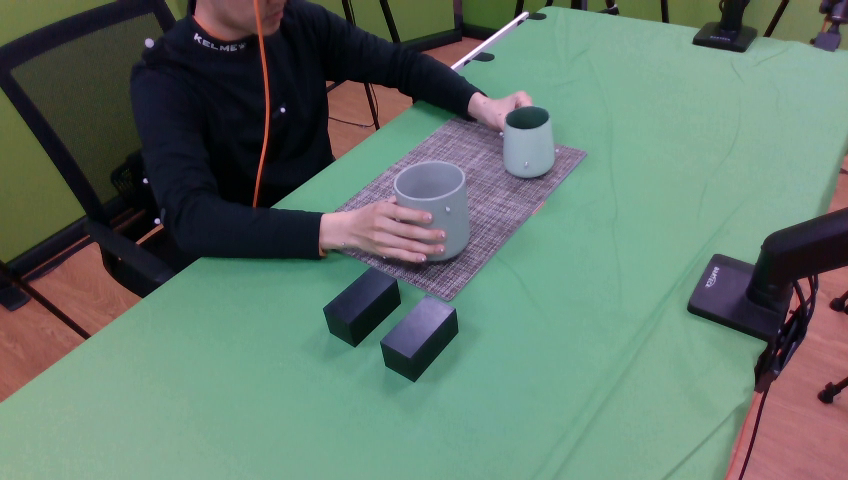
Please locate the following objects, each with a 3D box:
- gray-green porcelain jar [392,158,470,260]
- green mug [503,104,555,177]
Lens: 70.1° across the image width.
[{"bbox_3d":[0.014,-0.042,0.910,0.106,0.127,0.105,-5,39,5],"label":"gray-green porcelain jar"},{"bbox_3d":[0.182,-0.185,1.083,0.092,0.105,0.124,-11,42,2],"label":"green mug"}]
